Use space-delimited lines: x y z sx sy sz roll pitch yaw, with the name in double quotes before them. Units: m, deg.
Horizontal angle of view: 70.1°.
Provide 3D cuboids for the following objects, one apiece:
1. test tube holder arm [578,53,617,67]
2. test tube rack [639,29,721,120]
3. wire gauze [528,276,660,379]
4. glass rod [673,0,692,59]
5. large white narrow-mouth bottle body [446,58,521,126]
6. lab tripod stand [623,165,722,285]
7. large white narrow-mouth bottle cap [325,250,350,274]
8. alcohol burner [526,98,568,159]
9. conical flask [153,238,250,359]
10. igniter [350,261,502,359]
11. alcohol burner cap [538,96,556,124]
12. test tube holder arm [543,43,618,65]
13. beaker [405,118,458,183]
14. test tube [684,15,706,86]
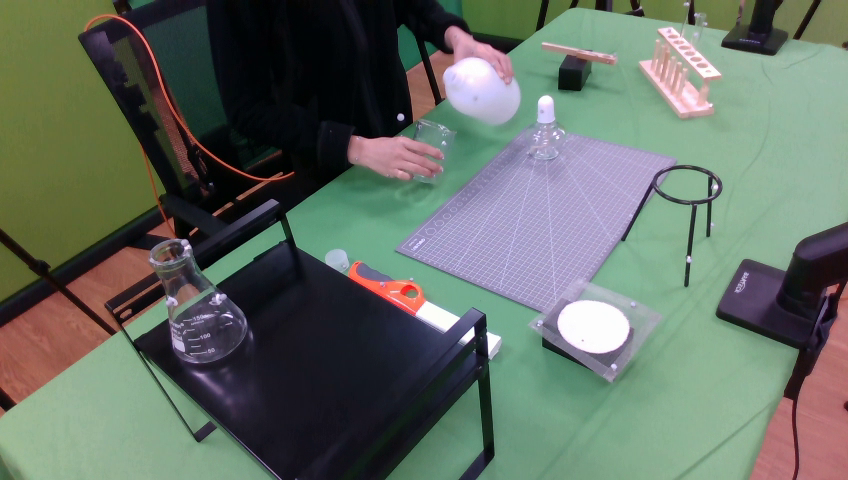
"test tube holder arm" 0.376 -0.393 1.314 0.087 0.015 0.010 26 51 32
"test tube rack" 0.527 -0.351 1.262 0.067 0.085 0.241 -8 40 1
"wire gauze" 0.213 0.103 0.763 0.124 0.011 0.122 30 52 35
"glass rod" 0.537 -0.437 1.257 0.008 0.200 0.008 0 39 1
"large white narrow-mouth bottle body" 0.100 -0.280 1.119 0.101 0.101 0.196 22 8 31
"lab tripod stand" 0.365 -0.030 0.874 0.148 0.132 0.147 -6 41 6
"large white narrow-mouth bottle cap" -0.138 0.035 0.966 0.038 0.024 0.037 -4 41 4
"alcohol burner" 0.228 -0.210 1.118 0.078 0.119 0.077 -5 43 5
"conical flask" -0.225 0.055 0.597 0.075 0.122 0.075 -5 41 4
"igniter" -0.009 0.094 0.870 0.274 0.025 0.057 25 61 33
"alcohol burner cap" 0.222 -0.237 1.095 0.034 0.048 0.033 -7 35 5
"test tube holder arm" 0.344 -0.413 1.340 0.177 0.015 0.013 25 51 31
"beaker" 0.013 -0.159 1.082 0.073 0.100 0.084 31 21 34
"test tube" 0.541 -0.378 1.216 0.017 0.151 0.017 -2 44 3
